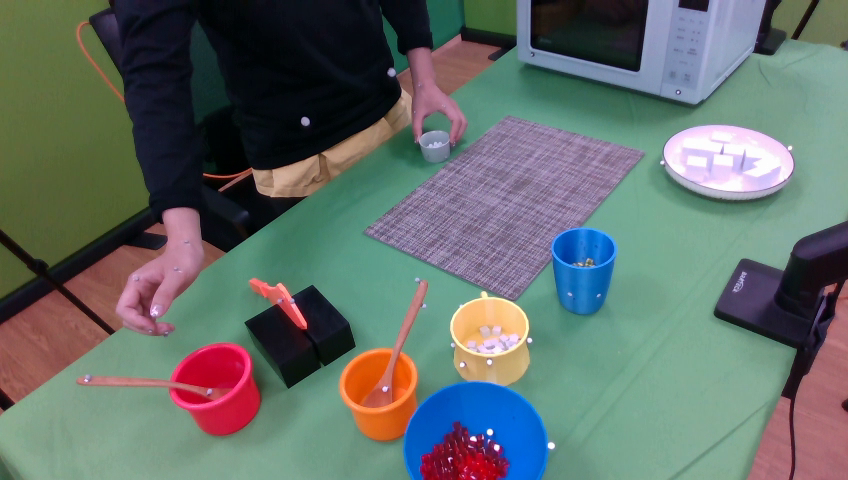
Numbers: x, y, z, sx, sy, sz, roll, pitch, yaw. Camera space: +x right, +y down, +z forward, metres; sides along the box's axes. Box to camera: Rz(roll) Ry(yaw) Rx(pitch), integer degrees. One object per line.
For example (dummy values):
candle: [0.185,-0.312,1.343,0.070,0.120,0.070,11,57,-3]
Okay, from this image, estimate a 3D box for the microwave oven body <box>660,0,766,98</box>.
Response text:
microwave oven body: [0.472,-0.513,1.317,0.438,0.261,0.327,26,51,34]

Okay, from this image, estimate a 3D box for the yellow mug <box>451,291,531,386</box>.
yellow mug: [0.085,0.120,0.786,0.100,0.064,0.130,-7,39,1]

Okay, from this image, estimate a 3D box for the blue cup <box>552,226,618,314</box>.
blue cup: [0.217,0.047,0.825,0.092,0.100,0.092,-6,40,5]

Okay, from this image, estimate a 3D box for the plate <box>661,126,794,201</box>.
plate: [0.513,-0.128,1.035,0.207,0.039,0.206,-4,40,4]

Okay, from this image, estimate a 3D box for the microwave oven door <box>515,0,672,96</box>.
microwave oven door: [0.343,-0.454,1.259,0.353,0.245,0.039,26,51,33]

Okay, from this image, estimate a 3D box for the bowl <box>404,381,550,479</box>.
bowl: [0.058,0.235,0.645,0.151,0.077,0.150,-4,39,4]

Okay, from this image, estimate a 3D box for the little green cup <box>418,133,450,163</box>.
little green cup: [0.020,-0.177,1.170,0.061,0.039,0.061,-4,36,3]

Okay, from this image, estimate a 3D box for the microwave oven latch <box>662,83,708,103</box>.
microwave oven latch: [0.517,-0.296,1.204,0.078,0.029,0.030,28,52,35]

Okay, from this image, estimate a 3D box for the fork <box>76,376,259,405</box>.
fork: [-0.295,0.176,0.716,0.209,0.018,0.028,20,27,-37]

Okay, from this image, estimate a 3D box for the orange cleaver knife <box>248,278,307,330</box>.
orange cleaver knife: [-0.210,0.088,0.856,0.012,0.077,0.210,-32,16,-24]

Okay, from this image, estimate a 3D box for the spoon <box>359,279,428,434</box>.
spoon: [-0.032,0.138,0.719,0.041,0.193,0.022,22,4,30]
